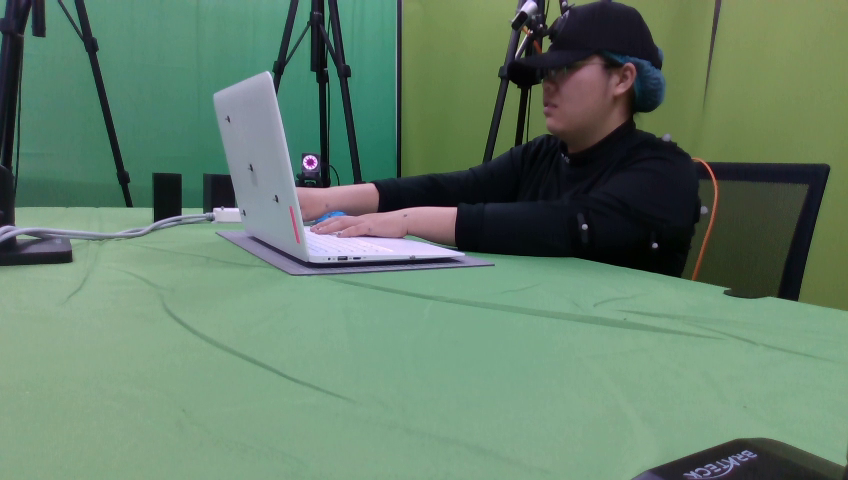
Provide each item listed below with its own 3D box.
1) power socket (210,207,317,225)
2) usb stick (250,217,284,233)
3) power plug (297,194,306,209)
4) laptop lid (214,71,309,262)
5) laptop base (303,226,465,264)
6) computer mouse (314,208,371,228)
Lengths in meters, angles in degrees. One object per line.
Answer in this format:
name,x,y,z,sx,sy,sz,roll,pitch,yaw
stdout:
power socket,-0.334,-0.051,1.281,0.228,0.032,0.072,-1,8,-28
usb stick,-0.291,-0.028,1.120,0.059,0.027,0.021,-1,12,-33
power plug,-0.282,-0.076,1.340,0.035,0.052,0.072,4,5,-19
laptop lid,-0.245,-0.105,0.870,0.013,0.241,0.355,-15,16,-27
laptop base,-0.125,0.007,0.955,0.237,0.023,0.352,2,6,-30
computer mouse,-0.175,-0.047,1.293,0.118,0.041,0.062,-8,14,-34
